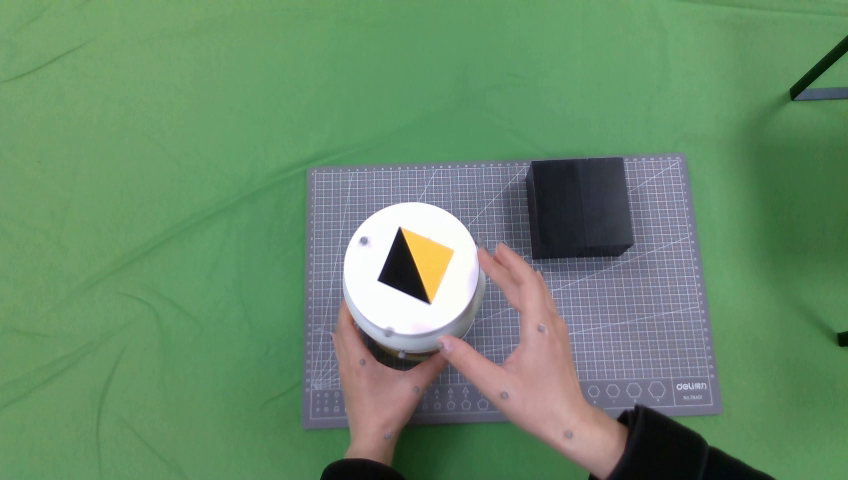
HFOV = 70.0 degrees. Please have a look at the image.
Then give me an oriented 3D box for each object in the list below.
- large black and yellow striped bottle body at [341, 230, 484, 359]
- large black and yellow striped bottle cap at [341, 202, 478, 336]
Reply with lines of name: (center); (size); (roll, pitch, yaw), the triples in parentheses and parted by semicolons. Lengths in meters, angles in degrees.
large black and yellow striped bottle body: (-0.010, 0.045, 0.592); (0.131, 0.185, 0.130); (0, 75, 1)
large black and yellow striped bottle cap: (-0.012, 0.023, 0.510); (0.115, 0.019, 0.114); (0, 76, -1)
